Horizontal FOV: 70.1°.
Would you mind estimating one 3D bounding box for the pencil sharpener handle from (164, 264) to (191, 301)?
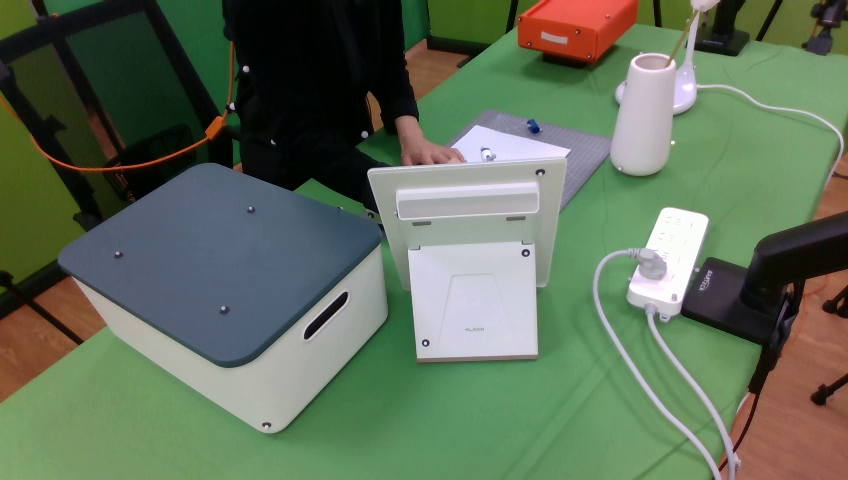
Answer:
[{"bbox_3d":[-0.354,0.055,0.866,0.036,0.068,0.030,-16,39,-29],"label":"pencil sharpener handle"}]

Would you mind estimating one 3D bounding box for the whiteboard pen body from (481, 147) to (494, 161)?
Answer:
[{"bbox_3d":[0.094,-0.070,0.801,0.017,0.017,0.140,-8,54,-1],"label":"whiteboard pen body"}]

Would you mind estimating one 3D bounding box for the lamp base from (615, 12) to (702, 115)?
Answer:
[{"bbox_3d":[0.484,-0.363,1.211,0.180,0.181,0.159,-15,41,-14],"label":"lamp base"}]

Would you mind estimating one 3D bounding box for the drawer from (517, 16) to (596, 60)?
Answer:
[{"bbox_3d":[0.352,-0.506,1.405,0.193,0.073,0.212,23,49,32],"label":"drawer"}]

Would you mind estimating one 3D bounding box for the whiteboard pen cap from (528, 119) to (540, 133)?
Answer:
[{"bbox_3d":[0.221,-0.229,1.211,0.018,0.018,0.033,-13,40,-7],"label":"whiteboard pen cap"}]

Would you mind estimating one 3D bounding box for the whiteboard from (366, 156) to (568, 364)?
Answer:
[{"bbox_3d":[0.059,0.050,0.738,0.217,0.307,0.143,-2,60,6],"label":"whiteboard"}]

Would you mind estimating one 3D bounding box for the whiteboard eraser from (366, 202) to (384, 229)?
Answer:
[{"bbox_3d":[-0.038,-0.038,1.006,0.112,0.042,0.055,17,47,25],"label":"whiteboard eraser"}]

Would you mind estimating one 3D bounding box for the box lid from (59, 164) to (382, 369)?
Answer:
[{"bbox_3d":[-0.263,0.010,0.777,0.368,0.015,0.264,20,47,29],"label":"box lid"}]

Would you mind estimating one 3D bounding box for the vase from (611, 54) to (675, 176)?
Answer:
[{"bbox_3d":[0.377,-0.209,1.031,0.098,0.201,0.097,-3,40,3],"label":"vase"}]

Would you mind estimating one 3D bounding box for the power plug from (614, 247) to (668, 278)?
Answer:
[{"bbox_3d":[0.306,0.031,0.851,0.072,0.053,0.035,24,49,33],"label":"power plug"}]

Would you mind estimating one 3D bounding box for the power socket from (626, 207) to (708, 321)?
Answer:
[{"bbox_3d":[0.359,0.026,0.886,0.072,0.033,0.227,16,46,26],"label":"power socket"}]

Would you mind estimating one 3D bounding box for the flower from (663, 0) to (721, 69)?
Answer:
[{"bbox_3d":[0.379,-0.261,0.965,0.044,0.362,0.038,20,53,5],"label":"flower"}]

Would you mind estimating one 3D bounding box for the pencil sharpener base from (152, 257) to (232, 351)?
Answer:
[{"bbox_3d":[-0.322,0.088,0.842,0.061,0.107,0.076,-27,44,-20],"label":"pencil sharpener base"}]

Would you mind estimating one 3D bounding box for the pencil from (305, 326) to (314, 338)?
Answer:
[{"bbox_3d":[-0.187,0.105,0.880,0.012,0.012,0.192,-27,42,-22],"label":"pencil"}]

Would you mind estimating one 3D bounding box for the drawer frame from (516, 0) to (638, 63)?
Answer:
[{"bbox_3d":[0.355,-0.508,1.410,0.200,0.083,0.214,23,51,32],"label":"drawer frame"}]

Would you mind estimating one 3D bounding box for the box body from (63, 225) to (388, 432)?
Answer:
[{"bbox_3d":[-0.256,0.065,0.827,0.361,0.161,0.255,20,48,29],"label":"box body"}]
